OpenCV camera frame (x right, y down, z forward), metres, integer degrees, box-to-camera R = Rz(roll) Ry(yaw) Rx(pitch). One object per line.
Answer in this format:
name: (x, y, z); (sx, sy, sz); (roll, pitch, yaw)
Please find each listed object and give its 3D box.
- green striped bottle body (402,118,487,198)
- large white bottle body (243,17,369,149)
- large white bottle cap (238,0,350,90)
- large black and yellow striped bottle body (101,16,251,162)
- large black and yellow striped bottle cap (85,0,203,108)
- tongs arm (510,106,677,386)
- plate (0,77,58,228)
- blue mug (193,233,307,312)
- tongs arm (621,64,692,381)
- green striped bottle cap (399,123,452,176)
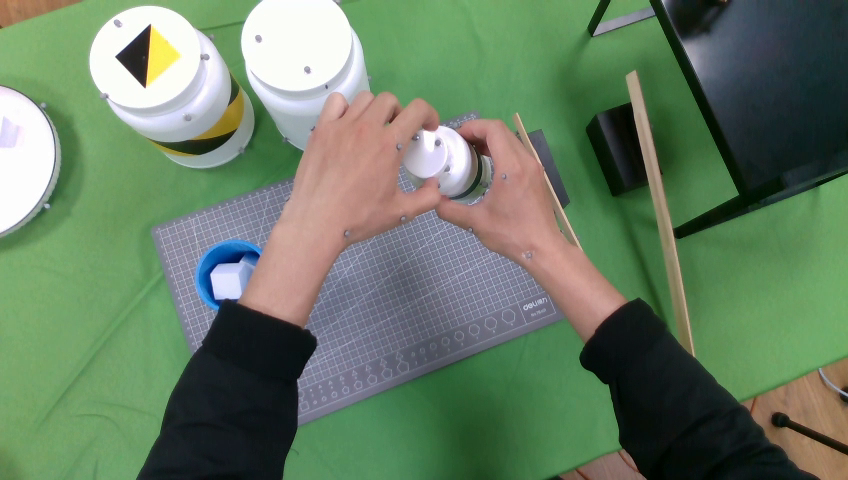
green striped bottle body: (0.019, -0.078, 0.581); (0.063, 0.120, 0.063); (-1, 87, 18)
large white bottle body: (-0.136, -0.197, 0.715); (0.131, 0.185, 0.130); (0, 80, -1)
large white bottle cap: (-0.135, -0.213, 0.632); (0.115, 0.018, 0.114); (0, 80, -1)
large black and yellow striped bottle body: (-0.290, -0.178, 0.709); (0.131, 0.184, 0.130); (0, 80, -1)
large black and yellow striped bottle cap: (-0.290, -0.194, 0.627); (0.115, 0.019, 0.114); (0, 81, -2)
tongs arm: (0.205, 0.008, 0.729); (0.051, 0.026, 0.385); (-25, 94, -8)
plate: (-0.565, -0.106, 0.766); (0.208, 0.039, 0.207); (0, 81, -1)
blue mug: (-0.196, 0.037, 0.714); (0.116, 0.106, 0.082); (-13, 80, -3)
tongs arm: (0.281, -0.020, 0.738); (0.028, 0.027, 0.387); (-12, 93, -12)
green striped bottle cap: (0.001, -0.079, 0.528); (0.044, 0.020, 0.044); (-1, 87, 21)
